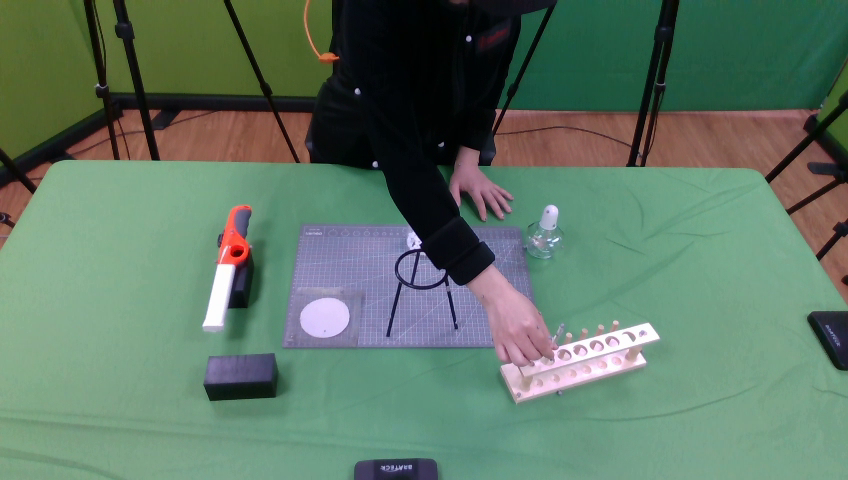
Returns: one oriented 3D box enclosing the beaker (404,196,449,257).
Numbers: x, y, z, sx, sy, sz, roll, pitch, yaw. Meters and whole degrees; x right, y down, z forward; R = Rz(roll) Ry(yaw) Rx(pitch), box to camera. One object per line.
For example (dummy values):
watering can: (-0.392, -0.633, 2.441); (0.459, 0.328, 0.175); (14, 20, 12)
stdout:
beaker: (0.002, -0.023, 1.164); (0.084, 0.101, 0.073); (6, 46, 0)

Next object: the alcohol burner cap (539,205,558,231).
alcohol burner cap: (0.239, -0.045, 1.148); (0.034, 0.048, 0.033); (2, 42, -1)

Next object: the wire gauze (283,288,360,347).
wire gauze: (-0.177, 0.132, 1.062); (0.125, 0.011, 0.120); (2, 47, 1)

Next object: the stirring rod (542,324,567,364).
stirring rod: (0.191, 0.155, 0.894); (0.014, 0.177, 0.006); (21, 66, 13)

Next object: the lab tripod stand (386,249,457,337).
lab tripod stand: (-0.010, 0.087, 1.032); (0.148, 0.132, 0.147); (1, 45, -1)

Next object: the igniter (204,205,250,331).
igniter: (-0.344, 0.039, 1.065); (0.057, 0.025, 0.274); (2, 48, -6)

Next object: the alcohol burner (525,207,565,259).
alcohol burner: (0.236, -0.020, 1.174); (0.078, 0.120, 0.077); (1, 48, -1)

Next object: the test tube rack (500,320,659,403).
test tube rack: (0.253, 0.187, 0.994); (0.243, 0.085, 0.066); (-12, 48, -15)
